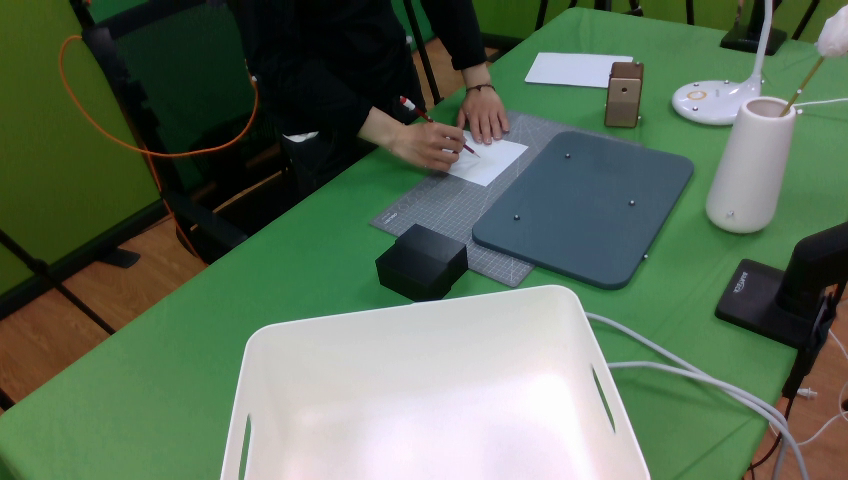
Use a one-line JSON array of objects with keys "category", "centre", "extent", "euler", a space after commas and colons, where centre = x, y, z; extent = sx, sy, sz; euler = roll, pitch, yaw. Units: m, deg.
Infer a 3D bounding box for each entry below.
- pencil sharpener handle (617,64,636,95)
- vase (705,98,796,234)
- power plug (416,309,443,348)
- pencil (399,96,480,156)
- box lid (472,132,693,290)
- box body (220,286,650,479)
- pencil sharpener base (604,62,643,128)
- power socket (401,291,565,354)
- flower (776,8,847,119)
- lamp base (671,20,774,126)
[{"category": "pencil sharpener handle", "centre": [0.401, -0.326, 1.211], "extent": [0.036, 0.068, 0.030], "euler": [16, 44, 8]}, {"category": "vase", "centre": [0.480, -0.104, 0.889], "extent": [0.098, 0.201, 0.097], "euler": [-4, 42, 4]}, {"category": "power plug", "centre": [0.004, 0.121, 0.787], "extent": [0.035, 0.053, 0.072], "euler": [2, 46, 8]}, {"category": "pencil", "centre": [0.032, -0.204, 1.099], "extent": [0.012, 0.195, 0.012], "euler": [-39, 34, 33]}, {"category": "box lid", "centre": [0.273, -0.068, 1.020], "extent": [0.261, 0.015, 0.372], "euler": [20, 47, 28]}, {"category": "box body", "centre": [0.006, 0.210, 0.618], "extent": [0.364, 0.161, 0.252], "euler": [-8, 40, -1]}, {"category": "pencil sharpener base", "centre": [0.390, -0.284, 1.182], "extent": [0.061, 0.107, 0.076], "euler": [7, 42, 17]}, {"category": "power socket", "centre": [0.080, 0.111, 0.823], "extent": [0.227, 0.033, 0.072], "euler": [-5, 41, 1]}, {"category": "flower", "centre": [0.476, -0.156, 0.822], "extent": [0.038, 0.362, 0.044], "euler": [8, 58, 2]}, {"category": "lamp base", "centre": [0.581, -0.332, 1.154], "extent": [0.179, 0.181, 0.160], "euler": [2, 42, 7]}]
